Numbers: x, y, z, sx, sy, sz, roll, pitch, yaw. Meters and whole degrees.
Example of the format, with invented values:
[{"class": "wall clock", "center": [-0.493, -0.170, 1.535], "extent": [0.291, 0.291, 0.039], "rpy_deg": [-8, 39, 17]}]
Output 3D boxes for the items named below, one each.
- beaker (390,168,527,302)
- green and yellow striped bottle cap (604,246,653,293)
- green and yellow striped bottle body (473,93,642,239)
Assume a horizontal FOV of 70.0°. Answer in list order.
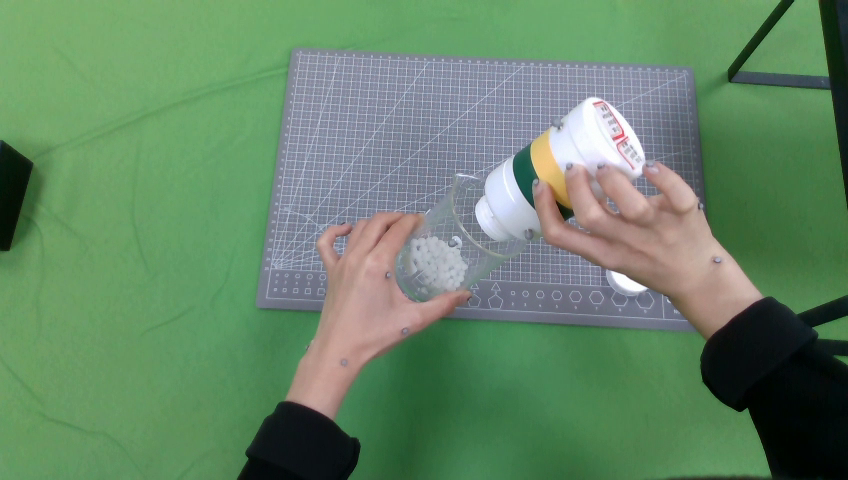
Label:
[{"class": "beaker", "center": [0.022, 0.000, 0.498], "extent": [0.074, 0.100, 0.083], "rpy_deg": [-26, 78, -45]}, {"class": "green and yellow striped bottle cap", "center": [0.203, 0.029, 0.599], "extent": [0.045, 0.020, 0.045], "rpy_deg": [0, 70, 0]}, {"class": "green and yellow striped bottle body", "center": [0.089, -0.045, 0.436], "extent": [0.064, 0.120, 0.062], "rpy_deg": [25, 47, -30]}]
